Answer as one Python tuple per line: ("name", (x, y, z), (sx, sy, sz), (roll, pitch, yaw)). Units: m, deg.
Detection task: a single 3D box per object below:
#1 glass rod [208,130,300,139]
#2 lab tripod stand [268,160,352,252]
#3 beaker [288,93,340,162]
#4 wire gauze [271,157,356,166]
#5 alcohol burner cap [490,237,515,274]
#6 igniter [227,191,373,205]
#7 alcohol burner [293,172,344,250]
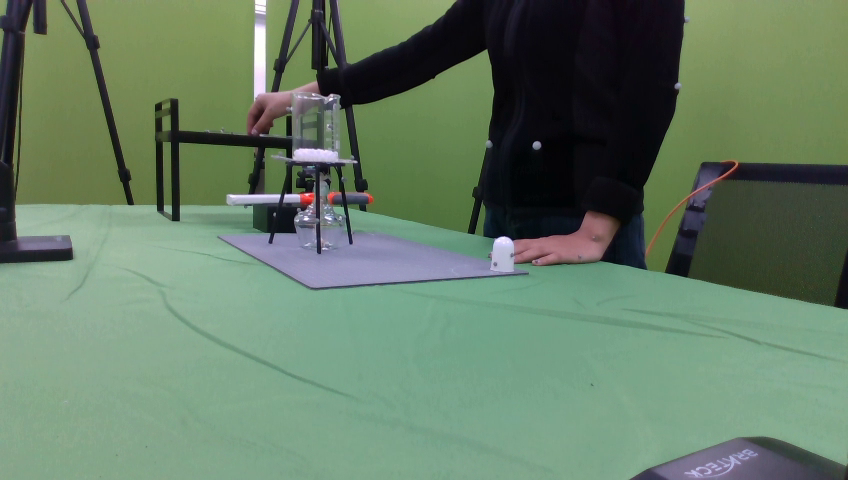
("glass rod", (-0.367, -0.231, 1.321), (0.201, 0.008, 0.008), (-1, 8, -30))
("lab tripod stand", (-0.171, -0.055, 0.921), (0.148, 0.131, 0.148), (1, 9, 0))
("beaker", (-0.162, -0.167, 0.908), (0.074, 0.100, 0.083), (-4, 11, -31))
("wire gauze", (-0.167, -0.120, 0.917), (0.125, 0.011, 0.121), (-2, 6, -8))
("alcohol burner cap", (0.104, 0.020, 0.793), (0.034, 0.048, 0.034), (2, 6, 0))
("igniter", (-0.232, -0.080, 1.161), (0.278, 0.025, 0.057), (-3, 12, -28))
("alcohol burner", (-0.159, -0.045, 0.921), (0.078, 0.119, 0.078), (5, 7, 0))
